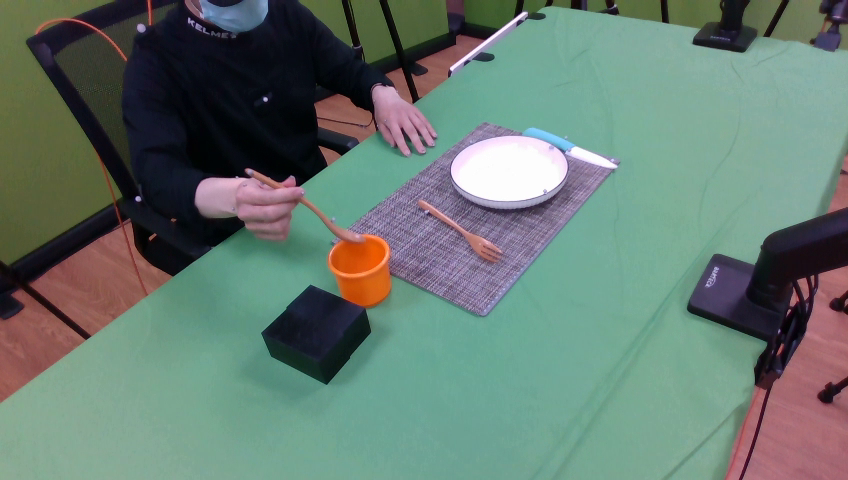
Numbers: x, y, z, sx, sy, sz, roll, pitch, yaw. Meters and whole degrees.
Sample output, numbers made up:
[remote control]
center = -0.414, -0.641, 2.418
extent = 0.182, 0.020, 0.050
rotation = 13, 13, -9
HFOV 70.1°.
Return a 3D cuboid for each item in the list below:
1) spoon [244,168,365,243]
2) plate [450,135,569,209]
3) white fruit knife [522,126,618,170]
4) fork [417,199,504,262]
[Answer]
[spoon]
center = -0.157, -0.045, 0.814
extent = 0.021, 0.195, 0.041
rotation = -50, 33, 4
[plate]
center = 0.149, -0.117, 1.066
extent = 0.209, 0.038, 0.208
rotation = -4, 41, 4
[white fruit knife]
center = 0.272, -0.172, 1.132
extent = 0.205, 0.016, 0.027
rotation = 32, 82, 34
[fork]
center = 0.053, -0.021, 0.981
extent = 0.019, 0.028, 0.205
rotation = 1, 26, -41
